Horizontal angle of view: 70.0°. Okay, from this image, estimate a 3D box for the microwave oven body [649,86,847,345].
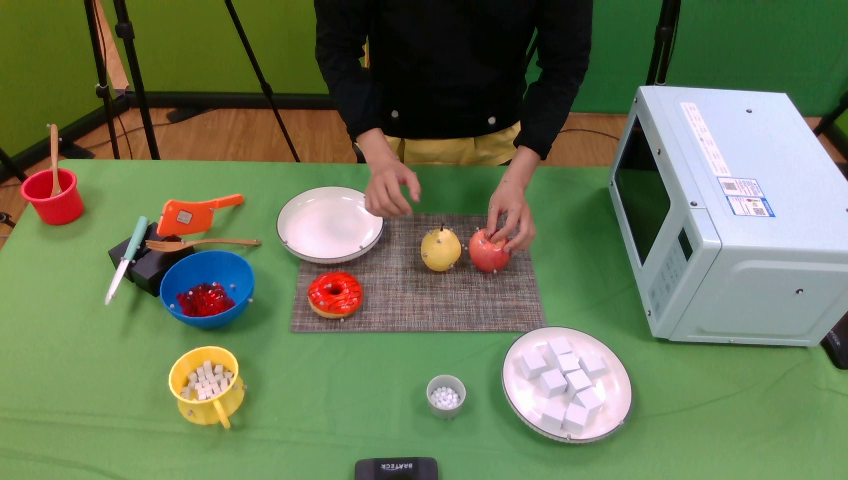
[{"bbox_3d":[0.567,-0.053,1.118,0.326,0.261,0.439,2,45,-1],"label":"microwave oven body"}]

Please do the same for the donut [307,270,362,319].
[{"bbox_3d":[-0.157,0.097,1.073,0.099,0.048,0.098,4,46,-4],"label":"donut"}]

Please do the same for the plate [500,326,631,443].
[{"bbox_3d":[0.224,0.233,0.978,0.208,0.039,0.206,2,46,-2],"label":"plate"}]

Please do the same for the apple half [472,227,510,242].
[{"bbox_3d":[0.123,0.001,1.165,0.081,0.081,0.032,-2,50,-5],"label":"apple half"}]

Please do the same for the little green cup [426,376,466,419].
[{"bbox_3d":[0.033,0.248,0.950,0.061,0.039,0.061,2,46,-2],"label":"little green cup"}]

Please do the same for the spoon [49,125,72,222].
[{"bbox_3d":[-0.717,-0.131,1.189,0.042,0.021,0.193,-3,90,-7],"label":"spoon"}]

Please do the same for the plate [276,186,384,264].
[{"bbox_3d":[-0.184,-0.027,1.195,0.209,0.038,0.208,2,46,-2],"label":"plate"}]

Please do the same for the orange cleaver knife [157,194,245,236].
[{"bbox_3d":[-0.427,-0.050,1.175,0.012,0.077,0.211,22,19,20],"label":"orange cleaver knife"}]

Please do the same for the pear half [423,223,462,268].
[{"bbox_3d":[0.039,0.000,1.135,0.076,0.110,0.056,25,50,14],"label":"pear half"}]

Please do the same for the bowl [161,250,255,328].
[{"bbox_3d":[-0.362,0.097,1.040,0.151,0.077,0.150,2,45,-2],"label":"bowl"}]

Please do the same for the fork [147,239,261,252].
[{"bbox_3d":[-0.399,0.007,1.118,0.208,0.019,0.028,-4,36,-36],"label":"fork"}]

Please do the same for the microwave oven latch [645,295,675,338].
[{"bbox_3d":[0.412,0.134,1.061,0.030,0.029,0.078,3,45,0],"label":"microwave oven latch"}]

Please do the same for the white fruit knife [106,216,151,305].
[{"bbox_3d":[-0.519,0.032,1.066,0.027,0.016,0.206,-18,45,19],"label":"white fruit knife"}]

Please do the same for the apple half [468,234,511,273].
[{"bbox_3d":[0.123,0.030,1.139,0.081,0.075,0.053,4,47,-11],"label":"apple half"}]

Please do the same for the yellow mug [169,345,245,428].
[{"bbox_3d":[-0.322,0.230,0.922,0.100,0.064,0.130,-24,53,-25],"label":"yellow mug"}]

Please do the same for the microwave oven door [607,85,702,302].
[{"bbox_3d":[0.423,-0.094,1.140,0.039,0.245,0.353,2,46,-1],"label":"microwave oven door"}]

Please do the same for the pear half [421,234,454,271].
[{"bbox_3d":[0.020,0.028,1.120,0.070,0.088,0.031,25,49,13],"label":"pear half"}]
